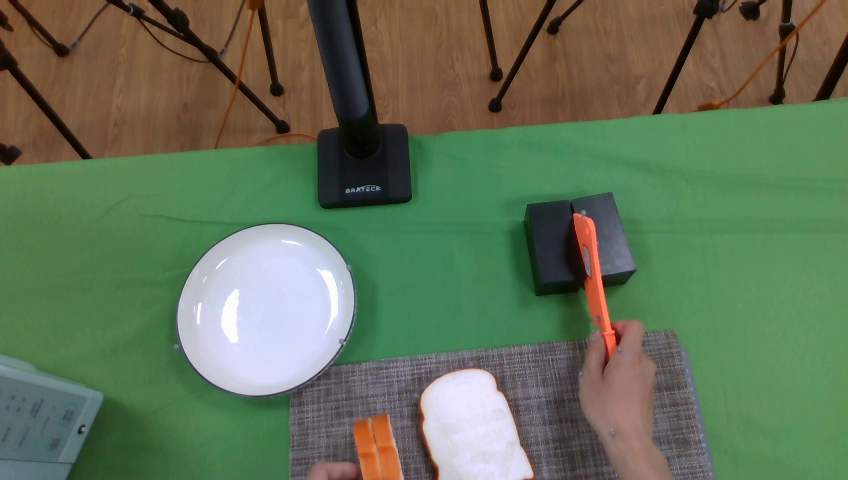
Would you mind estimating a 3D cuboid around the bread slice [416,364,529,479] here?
[{"bbox_3d":[0.050,0.205,0.665,0.107,0.018,0.133,-12,78,-8],"label":"bread slice"}]

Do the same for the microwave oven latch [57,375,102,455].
[{"bbox_3d":[-0.382,0.191,0.658,0.030,0.030,0.079,17,71,8],"label":"microwave oven latch"}]

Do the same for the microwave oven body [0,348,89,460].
[{"bbox_3d":[-0.579,0.276,0.529,0.325,0.262,0.439,15,71,7],"label":"microwave oven body"}]

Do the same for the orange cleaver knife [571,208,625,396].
[{"bbox_3d":[0.191,0.065,0.675,0.012,0.077,0.211,-10,86,-1],"label":"orange cleaver knife"}]

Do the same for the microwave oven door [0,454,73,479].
[{"bbox_3d":[-0.452,0.349,0.491,0.039,0.245,0.354,15,70,9],"label":"microwave oven door"}]

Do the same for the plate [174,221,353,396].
[{"bbox_3d":[-0.184,0.080,0.714,0.207,0.039,0.206,-1,69,2],"label":"plate"}]
